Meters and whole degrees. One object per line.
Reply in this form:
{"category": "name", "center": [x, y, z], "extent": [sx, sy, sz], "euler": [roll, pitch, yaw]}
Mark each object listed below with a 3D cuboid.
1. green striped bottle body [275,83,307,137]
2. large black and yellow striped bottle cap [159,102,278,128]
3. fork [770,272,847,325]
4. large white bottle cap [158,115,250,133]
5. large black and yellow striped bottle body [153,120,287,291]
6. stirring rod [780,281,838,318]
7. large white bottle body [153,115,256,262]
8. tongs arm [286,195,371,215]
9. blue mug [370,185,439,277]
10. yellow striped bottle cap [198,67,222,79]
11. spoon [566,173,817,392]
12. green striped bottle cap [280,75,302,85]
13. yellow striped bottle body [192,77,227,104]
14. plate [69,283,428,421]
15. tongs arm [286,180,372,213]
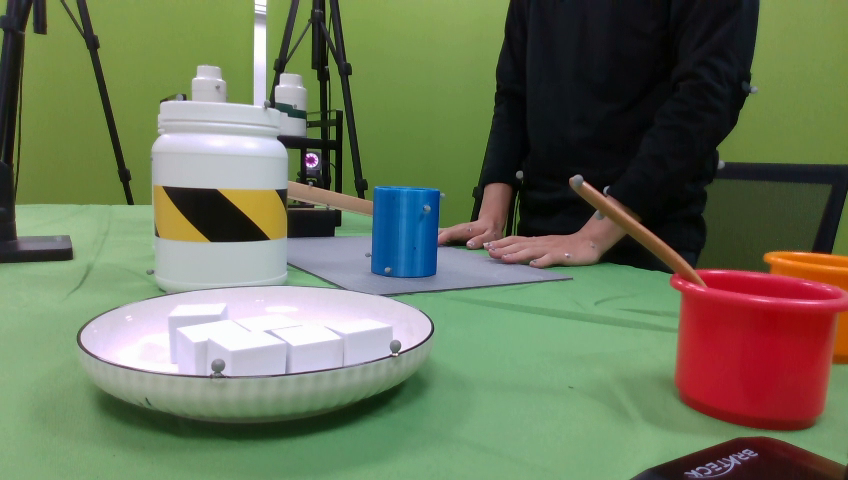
{"category": "green striped bottle body", "center": [-0.269, -0.269, 1.221], "extent": [0.063, 0.119, 0.063], "euler": [2, 7, 0]}
{"category": "large black and yellow striped bottle cap", "center": [-0.207, -0.125, 0.615], "extent": [0.115, 0.019, 0.115], "euler": [2, 6, 0]}
{"category": "fork", "center": [0.331, 0.018, 0.443], "extent": [0.028, 0.018, 0.207], "euler": [-1, -36, -16]}
{"category": "large white bottle cap", "center": [-0.291, -0.153, 0.803], "extent": [0.115, 0.018, 0.115], "euler": [1, 7, 0]}
{"category": "large black and yellow striped bottle body", "center": [-0.208, -0.042, 0.626], "extent": [0.131, 0.184, 0.130], "euler": [2, 7, 0]}
{"category": "stirring rod", "center": [0.344, 0.019, 0.461], "extent": [0.014, 0.006, 0.176], "euler": [-14, -26, -31]}
{"category": "large white bottle body", "center": [-0.293, -0.070, 0.813], "extent": [0.131, 0.184, 0.130], "euler": [2, 7, 0]}
{"category": "tongs arm", "center": [-0.165, -0.075, 1.216], "extent": [0.389, 0.027, 0.028], "euler": [11, -5, -24]}
{"category": "blue mug", "center": [-0.025, -0.016, 0.761], "extent": [0.082, 0.106, 0.116], "euler": [2, 7, -2]}
{"category": "yellow striped bottle cap", "center": [-0.412, -0.320, 1.163], "extent": [0.044, 0.018, 0.044], "euler": [1, 6, 0]}
{"category": "spoon", "center": [0.161, 0.024, 0.370], "extent": [0.193, 0.021, 0.042], "euler": [47, 18, 3]}
{"category": "green striped bottle cap", "center": [-0.267, -0.320, 1.216], "extent": [0.044, 0.020, 0.044], "euler": [2, 8, 0]}
{"category": "yellow striped bottle body", "center": [-0.414, -0.268, 1.169], "extent": [0.063, 0.120, 0.063], "euler": [2, 7, 0]}
{"category": "plate", "center": [-0.102, 0.066, 0.381], "extent": [0.208, 0.039, 0.207], "euler": [2, 7, 0]}
{"category": "tongs arm", "center": [-0.122, -0.066, 1.147], "extent": [0.387, 0.026, 0.050], "euler": [11, -2, -37]}
